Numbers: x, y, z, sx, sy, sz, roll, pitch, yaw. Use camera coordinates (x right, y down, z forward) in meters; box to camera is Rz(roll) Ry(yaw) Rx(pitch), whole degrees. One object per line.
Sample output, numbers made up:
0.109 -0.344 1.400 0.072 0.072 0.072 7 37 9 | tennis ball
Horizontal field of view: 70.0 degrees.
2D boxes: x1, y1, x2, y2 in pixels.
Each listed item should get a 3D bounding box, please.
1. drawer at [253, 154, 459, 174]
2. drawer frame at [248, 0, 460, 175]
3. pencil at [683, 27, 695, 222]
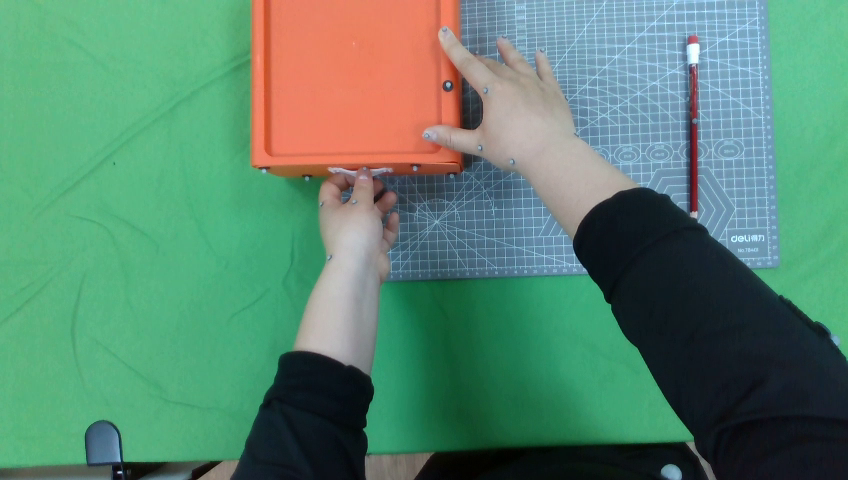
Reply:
-0.065 -0.172 0.600 0.194 0.073 0.211 -1 88 5 | drawer
-0.068 -0.174 0.599 0.201 0.083 0.213 -2 89 6 | drawer frame
0.266 -0.115 0.607 0.012 0.012 0.194 -1 91 5 | pencil
